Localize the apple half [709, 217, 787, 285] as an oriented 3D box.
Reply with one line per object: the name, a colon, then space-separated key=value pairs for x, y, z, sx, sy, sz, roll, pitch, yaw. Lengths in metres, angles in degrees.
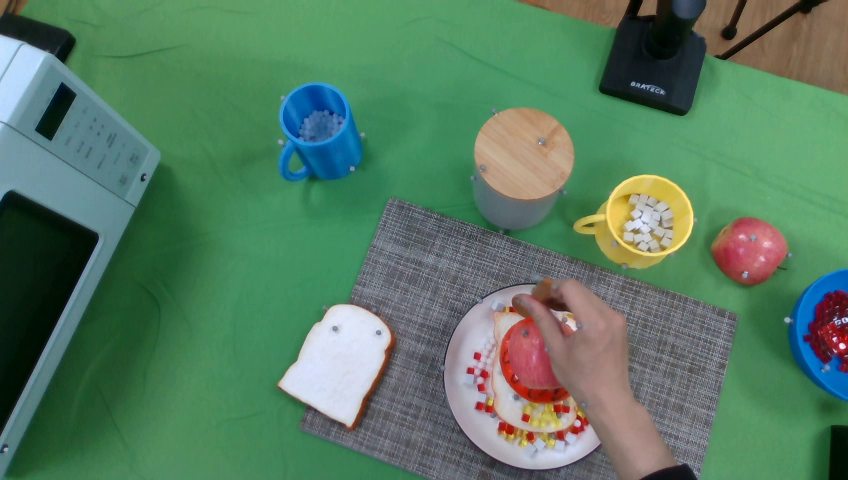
apple half: x=0.392 y=0.008 z=0.725 sx=0.074 sy=0.053 sz=0.081 roll=41 pitch=81 yaw=14

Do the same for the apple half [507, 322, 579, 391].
apple half: x=0.127 y=0.121 z=0.642 sx=0.081 sy=0.033 sz=0.080 roll=-2 pitch=69 yaw=6

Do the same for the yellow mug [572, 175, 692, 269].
yellow mug: x=0.245 y=-0.020 z=0.730 sx=0.131 sy=0.064 sz=0.099 roll=-3 pitch=75 yaw=2

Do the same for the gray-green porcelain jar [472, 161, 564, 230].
gray-green porcelain jar: x=0.111 y=-0.074 z=0.717 sx=0.106 sy=0.127 sz=0.105 roll=0 pitch=75 yaw=2

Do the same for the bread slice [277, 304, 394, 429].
bread slice: x=-0.100 y=0.141 z=0.720 sx=0.104 sy=0.019 sz=0.131 roll=27 pitch=79 yaw=7

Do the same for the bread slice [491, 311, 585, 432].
bread slice: x=0.131 y=0.152 z=0.700 sx=0.107 sy=0.018 sz=0.133 roll=2 pitch=77 yaw=3

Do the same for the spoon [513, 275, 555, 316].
spoon: x=0.115 y=0.061 z=0.617 sx=0.041 sy=0.194 sz=0.021 roll=32 pitch=82 yaw=10

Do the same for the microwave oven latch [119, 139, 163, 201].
microwave oven latch: x=-0.360 y=-0.091 z=0.761 sx=0.030 sy=0.029 sz=0.079 roll=23 pitch=78 yaw=7

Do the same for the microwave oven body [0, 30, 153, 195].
microwave oven body: x=-0.563 y=-0.002 z=0.645 sx=0.325 sy=0.261 sz=0.440 roll=19 pitch=77 yaw=6

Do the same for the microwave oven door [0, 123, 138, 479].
microwave oven door: x=-0.442 y=0.082 z=0.614 sx=0.039 sy=0.245 sz=0.354 roll=19 pitch=76 yaw=7

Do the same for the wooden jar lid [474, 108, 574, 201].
wooden jar lid: x=0.107 y=-0.091 z=0.656 sx=0.108 sy=0.021 sz=0.108 roll=0 pitch=74 yaw=-1

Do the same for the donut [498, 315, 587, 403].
donut: x=0.131 y=0.132 z=0.676 sx=0.099 sy=0.048 sz=0.098 roll=-1 pitch=75 yaw=3

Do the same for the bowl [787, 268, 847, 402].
bowl: x=0.475 y=0.112 z=0.683 sx=0.151 sy=0.077 sz=0.150 roll=0 pitch=75 yaw=2

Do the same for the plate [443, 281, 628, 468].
plate: x=0.126 y=0.152 z=0.700 sx=0.207 sy=0.039 sz=0.206 roll=0 pitch=76 yaw=2

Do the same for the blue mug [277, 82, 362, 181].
blue mug: x=-0.135 y=-0.120 z=0.747 sx=0.082 sy=0.106 sz=0.116 roll=40 pitch=80 yaw=11
